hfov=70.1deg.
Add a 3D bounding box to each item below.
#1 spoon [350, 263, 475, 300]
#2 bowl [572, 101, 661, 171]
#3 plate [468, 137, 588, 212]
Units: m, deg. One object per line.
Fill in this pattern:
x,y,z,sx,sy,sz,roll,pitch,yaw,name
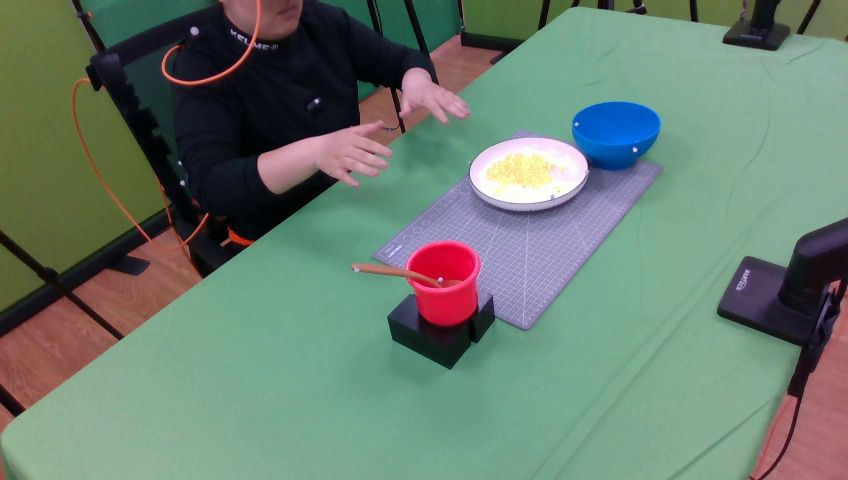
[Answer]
-0.010,0.048,0.754,0.195,0.021,0.041,19,26,-39,spoon
0.339,-0.177,1.079,0.151,0.077,0.150,-5,40,5,bowl
0.181,-0.112,1.064,0.207,0.039,0.206,-5,40,5,plate
